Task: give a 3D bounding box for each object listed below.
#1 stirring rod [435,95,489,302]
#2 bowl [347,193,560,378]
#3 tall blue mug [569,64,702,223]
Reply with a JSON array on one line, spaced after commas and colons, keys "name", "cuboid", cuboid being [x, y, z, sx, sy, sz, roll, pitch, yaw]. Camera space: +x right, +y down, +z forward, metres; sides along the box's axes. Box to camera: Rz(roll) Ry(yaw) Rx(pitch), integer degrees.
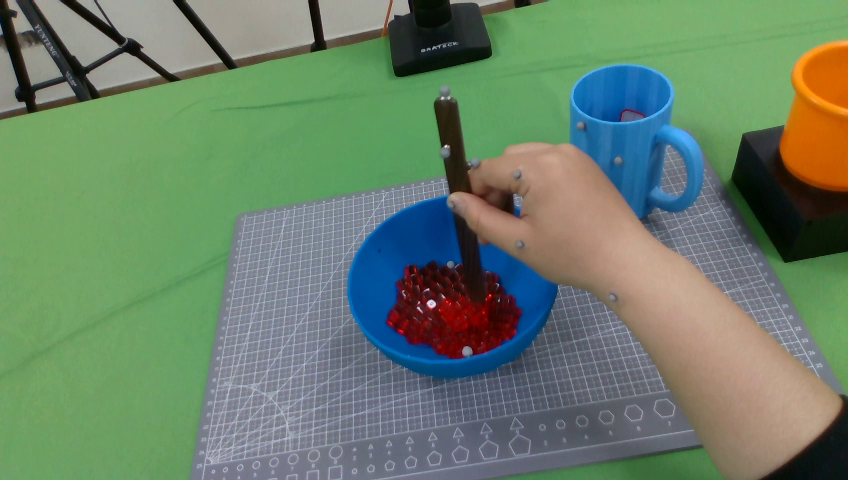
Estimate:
[{"name": "stirring rod", "cuboid": [0.027, -0.017, 0.388, 0.014, 0.178, 0.006, 6, 48, 19]}, {"name": "bowl", "cuboid": [0.025, 0.044, 0.449, 0.151, 0.077, 0.150, -6, 48, 8]}, {"name": "tall blue mug", "cuboid": [0.174, -0.074, 0.497, 0.106, 0.109, 0.077, 11, 52, 22]}]
